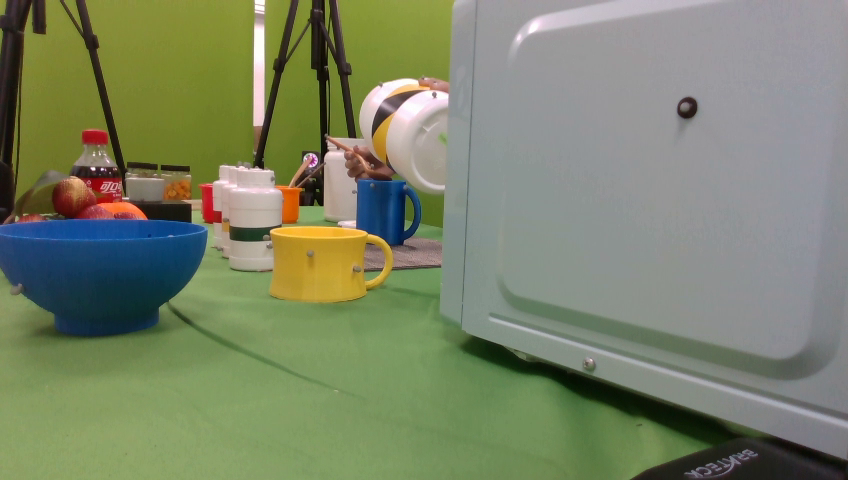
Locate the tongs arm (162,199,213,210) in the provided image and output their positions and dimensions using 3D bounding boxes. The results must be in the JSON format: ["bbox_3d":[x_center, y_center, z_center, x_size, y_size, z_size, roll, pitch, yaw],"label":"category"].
[{"bbox_3d":[-0.504,-0.091,1.513,0.028,0.028,0.389,0,4,37],"label":"tongs arm"}]

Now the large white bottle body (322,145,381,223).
[{"bbox_3d":[-0.163,-0.135,1.369,0.131,0.184,0.130,2,7,0],"label":"large white bottle body"}]

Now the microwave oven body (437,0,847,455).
[{"bbox_3d":[0.279,-0.040,0.464,0.444,0.260,0.324,-3,8,-41],"label":"microwave oven body"}]

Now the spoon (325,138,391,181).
[{"bbox_3d":[-0.119,-0.143,1.051,0.042,0.021,0.192,24,12,-48],"label":"spoon"}]

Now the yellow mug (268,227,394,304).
[{"bbox_3d":[-0.094,0.023,0.630,0.131,0.064,0.099,0,7,-22],"label":"yellow mug"}]

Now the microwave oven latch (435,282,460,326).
[{"bbox_3d":[0.044,0.046,0.470,0.079,0.029,0.030,-3,8,-40],"label":"microwave oven latch"}]

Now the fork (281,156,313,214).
[{"bbox_3d":[-0.289,-0.116,1.320,0.028,0.019,0.207,-2,48,27],"label":"fork"}]

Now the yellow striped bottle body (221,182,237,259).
[{"bbox_3d":[-0.244,-0.035,0.823,0.063,0.120,0.063,2,8,0],"label":"yellow striped bottle body"}]

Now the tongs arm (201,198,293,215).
[{"bbox_3d":[-0.423,-0.084,1.472,0.050,0.026,0.386,2,6,21],"label":"tongs arm"}]

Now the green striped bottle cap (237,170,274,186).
[{"bbox_3d":[-0.206,-0.075,0.737,0.044,0.020,0.044,1,6,0],"label":"green striped bottle cap"}]

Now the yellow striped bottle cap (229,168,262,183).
[{"bbox_3d":[-0.240,-0.087,0.816,0.044,0.018,0.044,-3,5,1],"label":"yellow striped bottle cap"}]

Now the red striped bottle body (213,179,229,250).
[{"bbox_3d":[-0.284,-0.047,0.908,0.063,0.119,0.063,2,8,0],"label":"red striped bottle body"}]

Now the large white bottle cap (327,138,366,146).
[{"bbox_3d":[-0.160,-0.218,1.357,0.115,0.018,0.115,2,8,0],"label":"large white bottle cap"}]

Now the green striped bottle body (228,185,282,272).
[{"bbox_3d":[-0.208,-0.023,0.745,0.063,0.119,0.063,2,7,0],"label":"green striped bottle body"}]

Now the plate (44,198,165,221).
[{"bbox_3d":[-0.617,-0.056,1.179,0.209,0.038,0.209,3,7,0],"label":"plate"}]

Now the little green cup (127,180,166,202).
[{"bbox_3d":[-0.486,-0.087,1.062,0.061,0.038,0.061,0,7,0],"label":"little green cup"}]

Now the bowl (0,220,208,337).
[{"bbox_3d":[-0.251,0.029,0.479,0.151,0.077,0.151,2,7,0],"label":"bowl"}]

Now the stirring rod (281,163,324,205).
[{"bbox_3d":[-0.278,-0.105,1.293,0.176,0.006,0.014,-47,24,-18],"label":"stirring rod"}]

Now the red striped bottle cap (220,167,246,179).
[{"bbox_3d":[-0.281,-0.100,0.901,0.044,0.017,0.044,-1,5,0],"label":"red striped bottle cap"}]

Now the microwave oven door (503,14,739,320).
[{"bbox_3d":[0.217,-0.065,0.600,0.358,0.243,0.039,-4,10,-41],"label":"microwave oven door"}]

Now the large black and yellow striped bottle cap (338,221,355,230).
[{"bbox_3d":[-0.107,-0.022,1.148,0.115,0.019,0.115,1,8,0],"label":"large black and yellow striped bottle cap"}]

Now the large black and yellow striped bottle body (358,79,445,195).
[{"bbox_3d":[-0.010,-0.153,0.852,0.131,0.130,0.183,-2,25,-29],"label":"large black and yellow striped bottle body"}]

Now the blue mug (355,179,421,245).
[{"bbox_3d":[-0.058,-0.047,1.005,0.116,0.106,0.082,6,8,24],"label":"blue mug"}]
